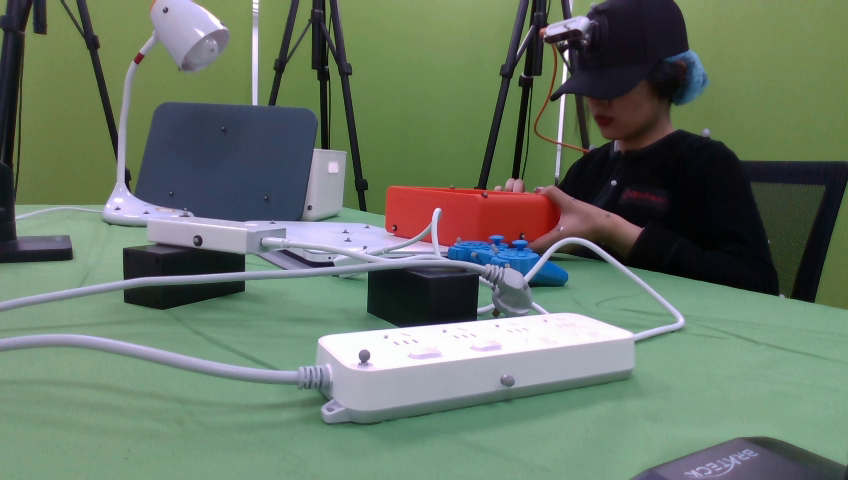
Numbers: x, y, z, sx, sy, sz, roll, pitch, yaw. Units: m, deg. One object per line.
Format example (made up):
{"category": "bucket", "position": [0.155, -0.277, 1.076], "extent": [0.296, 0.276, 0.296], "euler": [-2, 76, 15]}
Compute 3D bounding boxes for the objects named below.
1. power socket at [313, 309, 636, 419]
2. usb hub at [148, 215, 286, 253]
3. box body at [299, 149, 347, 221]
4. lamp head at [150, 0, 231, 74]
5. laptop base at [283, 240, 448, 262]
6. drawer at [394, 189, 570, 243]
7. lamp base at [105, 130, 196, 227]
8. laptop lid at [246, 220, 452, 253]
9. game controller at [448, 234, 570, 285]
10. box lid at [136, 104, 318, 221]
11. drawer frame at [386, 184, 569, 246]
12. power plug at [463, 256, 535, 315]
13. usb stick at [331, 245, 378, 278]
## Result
{"category": "power socket", "position": [0.039, 0.072, 0.384], "extent": [0.228, 0.032, 0.072], "euler": [-2, 7, -28]}
{"category": "usb hub", "position": [-0.197, -0.006, 0.575], "extent": [0.125, 0.025, 0.050], "euler": [6, 6, 22]}
{"category": "box body", "position": [-0.384, -0.137, 1.407], "extent": [0.364, 0.160, 0.254], "euler": [3, 8, 7]}
{"category": "lamp head", "position": [-0.432, -0.374, 1.086], "extent": [0.123, 0.112, 0.112], "euler": [42, 8, -3]}
{"category": "laptop base", "position": [-0.125, 0.002, 0.945], "extent": [0.237, 0.023, 0.352], "euler": [1, 6, -31]}
{"category": "drawer", "position": [0.090, -0.042, 0.962], "extent": [0.213, 0.073, 0.193], "euler": [-5, 10, -42]}
{"category": "lamp base", "position": [-0.532, -0.120, 1.153], "extent": [0.179, 0.180, 0.161], "euler": [1, 7, 8]}
{"category": "laptop lid", "position": [-0.123, -0.009, 0.945], "extent": [0.243, 0.013, 0.355], "euler": [1, 7, -29]}
{"category": "game controller", "position": [0.099, 0.021, 0.755], "extent": [0.097, 0.051, 0.154], "euler": [-7, 10, -29]}
{"category": "box lid", "position": [-0.411, -0.162, 1.266], "extent": [0.371, 0.263, 0.015], "euler": [3, -15, 9]}
{"category": "drawer frame", "position": [0.085, -0.043, 0.955], "extent": [0.215, 0.082, 0.200], "euler": [-5, 11, -44]}
{"category": "power plug", "position": [0.064, 0.039, 0.530], "extent": [0.072, 0.052, 0.035], "euler": [31, 43, 7]}
{"category": "usb stick", "position": [-0.085, 0.026, 0.701], "extent": [0.059, 0.027, 0.021], "euler": [-18, 18, 27]}
